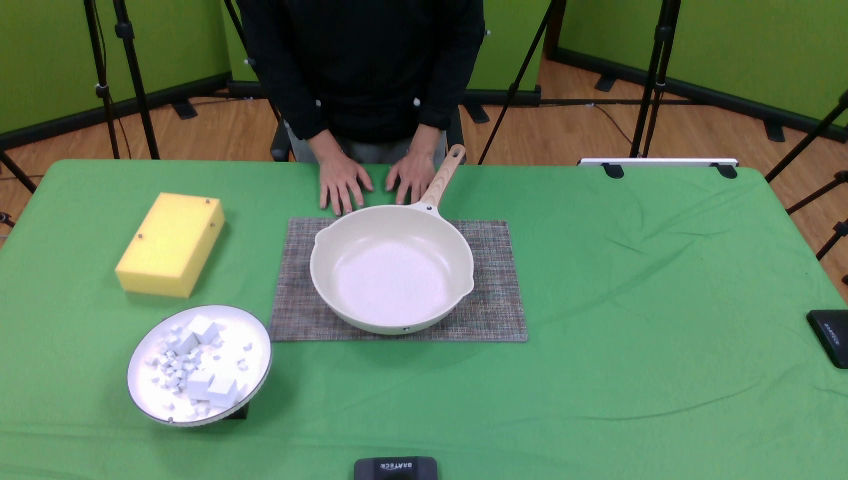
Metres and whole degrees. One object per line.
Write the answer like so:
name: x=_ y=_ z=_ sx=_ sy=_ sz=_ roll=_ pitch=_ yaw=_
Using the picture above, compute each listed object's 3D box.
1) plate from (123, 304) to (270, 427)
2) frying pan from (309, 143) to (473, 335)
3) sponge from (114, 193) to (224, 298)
plate: x=-0.336 y=0.189 z=0.913 sx=0.208 sy=0.039 sz=0.206 roll=1 pitch=46 yaw=-1
frying pan: x=-0.018 y=-0.022 z=1.155 sx=0.306 sy=0.103 sz=0.486 roll=20 pitch=57 yaw=13
sponge: x=-0.467 y=0.005 z=1.129 sx=0.118 sy=0.061 sz=0.205 roll=6 pitch=46 yaw=1
